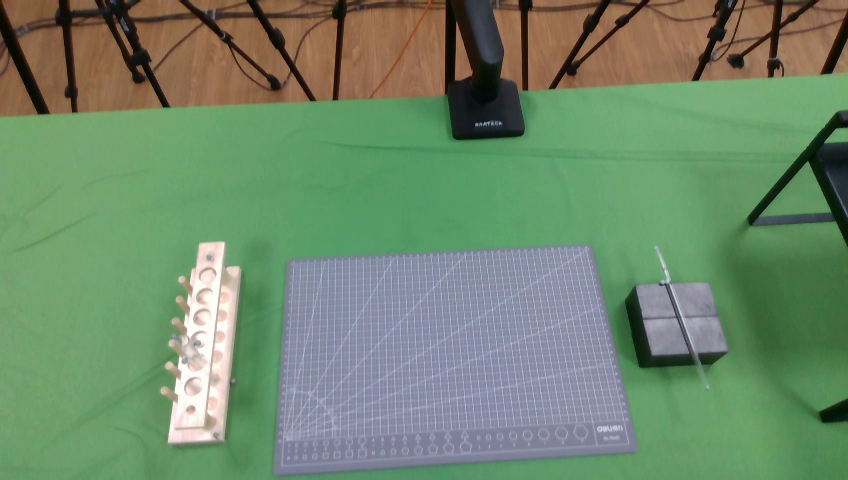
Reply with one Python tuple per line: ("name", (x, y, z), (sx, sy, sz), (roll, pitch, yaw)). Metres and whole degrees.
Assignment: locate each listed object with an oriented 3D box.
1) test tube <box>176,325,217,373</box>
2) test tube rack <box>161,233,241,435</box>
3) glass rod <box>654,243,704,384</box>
("test tube", (-0.266, 0.132, 0.715), (0.017, 0.151, 0.017), (3, 62, -5))
("test tube rack", (-0.289, 0.118, 0.779), (0.067, 0.086, 0.240), (-3, 62, -2))
("glass rod", (0.332, 0.091, 0.793), (0.008, 0.008, 0.198), (-5, 62, -4))
